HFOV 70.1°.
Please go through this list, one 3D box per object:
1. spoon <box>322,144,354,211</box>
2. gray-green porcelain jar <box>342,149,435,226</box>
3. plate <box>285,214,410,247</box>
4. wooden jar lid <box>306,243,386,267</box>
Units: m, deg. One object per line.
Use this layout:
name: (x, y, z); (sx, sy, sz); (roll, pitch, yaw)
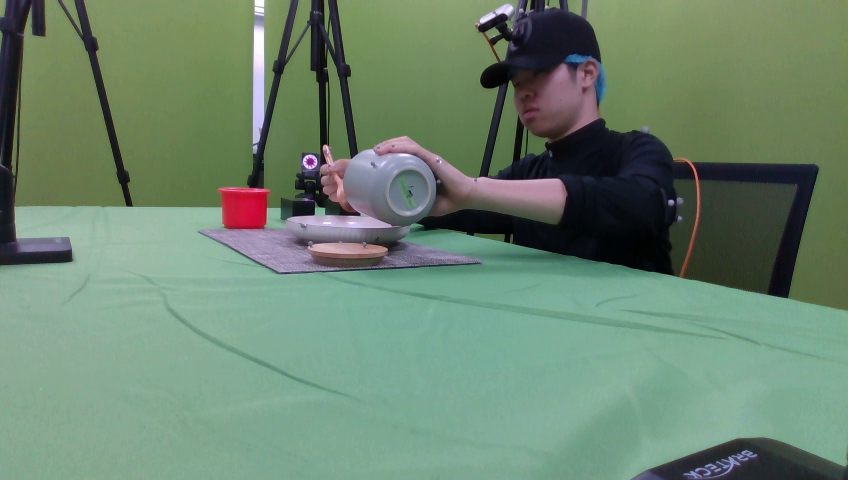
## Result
spoon: (-0.149, -0.110, 1.025); (0.042, 0.021, 0.193); (4, 34, -29)
gray-green porcelain jar: (-0.051, -0.079, 0.891); (0.106, 0.106, 0.126); (-1, 11, -28)
plate: (-0.127, -0.015, 1.012); (0.208, 0.039, 0.207); (3, 7, 0)
wooden jar lid: (-0.105, 0.020, 0.816); (0.108, 0.020, 0.108); (1, 7, 0)
